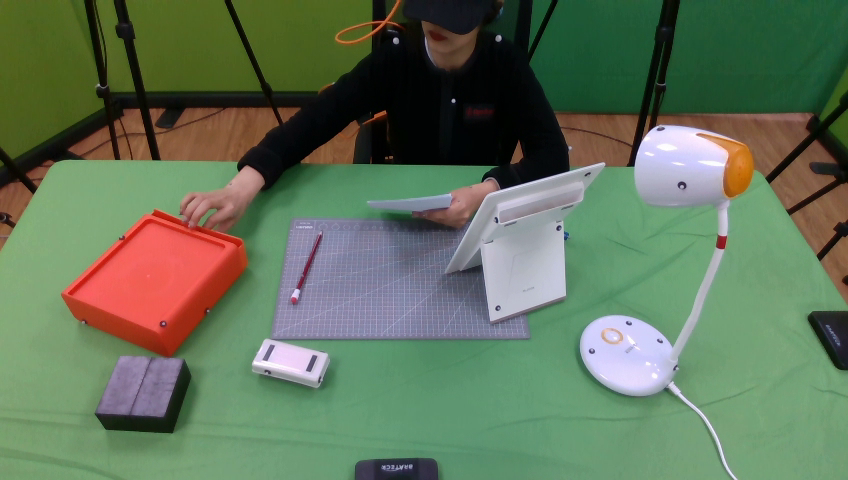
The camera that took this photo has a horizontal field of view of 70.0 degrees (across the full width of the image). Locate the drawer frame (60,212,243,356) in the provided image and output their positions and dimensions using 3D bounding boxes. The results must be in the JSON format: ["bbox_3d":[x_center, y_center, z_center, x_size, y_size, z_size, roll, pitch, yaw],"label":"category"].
[{"bbox_3d":[-0.462,0.070,1.053,0.201,0.083,0.213,18,48,12],"label":"drawer frame"}]

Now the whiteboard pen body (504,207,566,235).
[{"bbox_3d":[0.228,-0.037,1.247,0.140,0.017,0.017,25,49,24],"label":"whiteboard pen body"}]

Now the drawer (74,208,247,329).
[{"bbox_3d":[-0.455,0.058,1.066,0.194,0.073,0.211,19,48,13],"label":"drawer"}]

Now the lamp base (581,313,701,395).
[{"bbox_3d":[0.361,0.144,0.973,0.178,0.181,0.160,34,53,23],"label":"lamp base"}]

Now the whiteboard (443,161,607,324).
[{"bbox_3d":[0.185,0.026,1.028,0.217,0.306,0.143,-15,68,-18],"label":"whiteboard"}]

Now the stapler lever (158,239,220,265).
[{"bbox_3d":[-0.427,0.016,1.101,0.118,0.040,0.027,15,33,12],"label":"stapler lever"}]

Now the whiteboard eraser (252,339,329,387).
[{"bbox_3d":[-0.215,0.199,0.976,0.112,0.042,0.055,12,45,7],"label":"whiteboard eraser"}]

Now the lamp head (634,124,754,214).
[{"bbox_3d":[0.351,-0.089,0.776,0.112,0.113,0.122,-30,30,-28],"label":"lamp head"}]

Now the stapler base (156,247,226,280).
[{"bbox_3d":[-0.428,0.037,1.115,0.130,0.024,0.041,16,33,12],"label":"stapler base"}]

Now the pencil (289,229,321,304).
[{"bbox_3d":[-0.221,0.045,1.141,0.012,0.012,0.193,8,44,4],"label":"pencil"}]

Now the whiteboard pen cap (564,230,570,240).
[{"bbox_3d":[0.276,-0.014,1.223,0.033,0.018,0.018,31,52,20],"label":"whiteboard pen cap"}]
